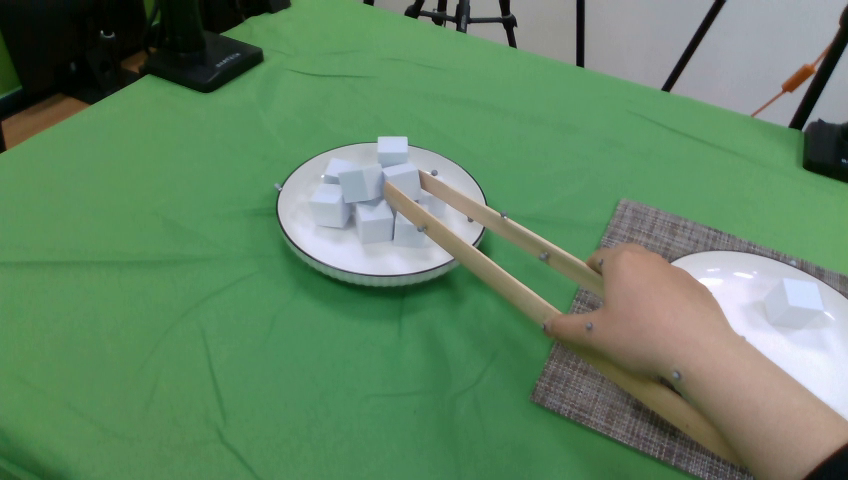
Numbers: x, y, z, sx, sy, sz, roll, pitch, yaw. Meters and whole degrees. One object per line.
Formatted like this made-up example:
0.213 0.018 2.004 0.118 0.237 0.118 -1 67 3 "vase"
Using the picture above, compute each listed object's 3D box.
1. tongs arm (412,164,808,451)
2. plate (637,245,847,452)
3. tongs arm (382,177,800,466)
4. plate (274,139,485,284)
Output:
0.107 0.029 0.481 0.051 0.027 0.381 -32 48 -33 "tongs arm"
0.283 0.088 0.519 0.208 0.039 0.205 3 44 -3 "plate"
0.087 0.040 0.469 0.028 0.028 0.383 -26 45 -32 "tongs arm"
-0.043 -0.028 0.608 0.209 0.038 0.207 4 43 -3 "plate"
